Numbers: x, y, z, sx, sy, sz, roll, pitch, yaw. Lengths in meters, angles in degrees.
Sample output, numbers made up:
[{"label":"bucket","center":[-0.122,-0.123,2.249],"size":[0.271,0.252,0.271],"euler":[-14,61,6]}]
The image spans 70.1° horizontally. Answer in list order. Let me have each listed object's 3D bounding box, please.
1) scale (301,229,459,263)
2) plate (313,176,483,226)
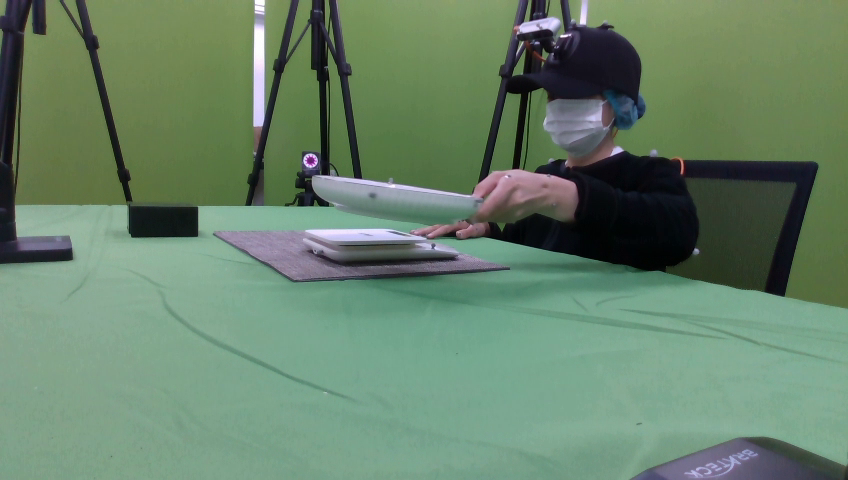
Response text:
[{"label":"scale","center":[-0.065,0.007,0.878],"size":[0.202,0.031,0.148],"euler":[0,8,-29]},{"label":"plate","center":[-0.033,-0.047,0.743],"size":[0.208,0.039,0.207],"euler":[7,7,-1]}]
